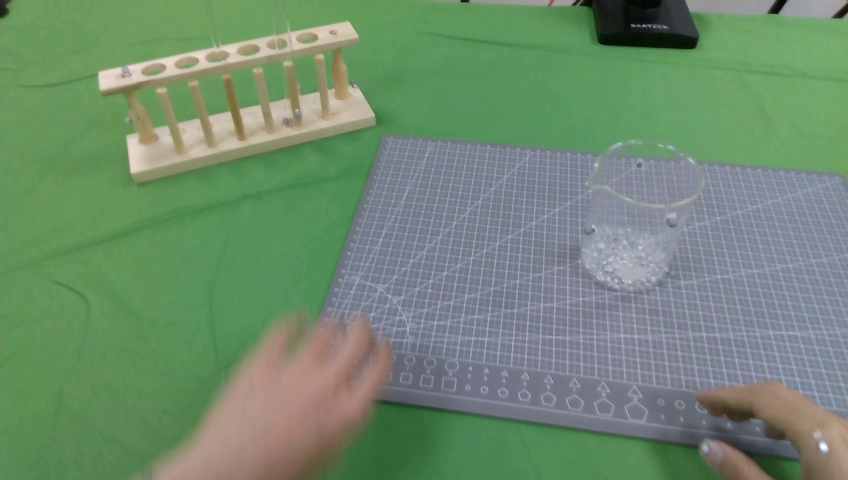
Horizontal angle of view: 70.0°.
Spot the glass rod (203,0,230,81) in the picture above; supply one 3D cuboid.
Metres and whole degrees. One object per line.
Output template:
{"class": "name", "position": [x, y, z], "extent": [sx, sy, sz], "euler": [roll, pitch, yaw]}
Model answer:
{"class": "glass rod", "position": [-0.190, -0.181, 0.554], "extent": [0.008, 0.201, 0.008], "euler": [1, 50, -1]}

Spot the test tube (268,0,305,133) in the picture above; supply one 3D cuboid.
{"class": "test tube", "position": [-0.129, -0.167, 0.570], "extent": [0.017, 0.151, 0.017], "euler": [1, 44, 0]}

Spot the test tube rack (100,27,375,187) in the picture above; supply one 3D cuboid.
{"class": "test tube rack", "position": [-0.176, -0.135, 0.603], "extent": [0.243, 0.086, 0.066], "euler": [-17, 48, -15]}

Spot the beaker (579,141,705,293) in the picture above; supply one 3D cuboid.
{"class": "beaker", "position": [0.159, -0.013, 0.468], "extent": [0.084, 0.101, 0.073], "euler": [-7, 46, -4]}
